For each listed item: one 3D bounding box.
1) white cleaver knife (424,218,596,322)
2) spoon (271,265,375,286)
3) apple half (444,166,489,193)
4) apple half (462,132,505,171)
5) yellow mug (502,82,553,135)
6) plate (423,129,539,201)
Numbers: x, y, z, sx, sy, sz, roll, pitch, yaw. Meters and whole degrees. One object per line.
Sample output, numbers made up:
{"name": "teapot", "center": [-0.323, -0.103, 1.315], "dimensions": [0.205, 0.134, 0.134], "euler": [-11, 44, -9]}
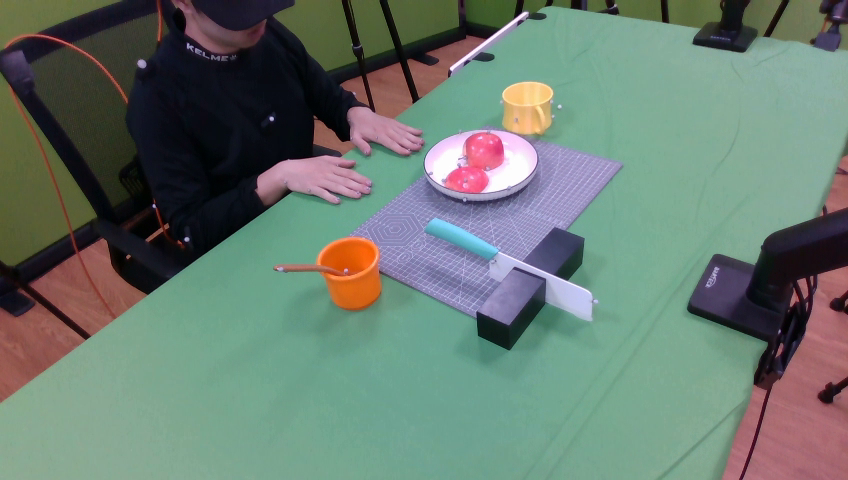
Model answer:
{"name": "white cleaver knife", "center": [0.114, 0.042, 0.865], "dimensions": [0.284, 0.066, 0.021], "euler": [27, 47, 28]}
{"name": "spoon", "center": [-0.136, 0.046, 0.839], "dimensions": [0.041, 0.195, 0.021], "euler": [24, 94, 35]}
{"name": "apple half", "center": [0.074, -0.112, 1.063], "dimensions": [0.081, 0.033, 0.081], "euler": [-6, 39, 5]}
{"name": "apple half", "center": [0.109, -0.169, 1.110], "dimensions": [0.075, 0.053, 0.080], "euler": [-6, 40, -2]}
{"name": "yellow mug", "center": [0.212, -0.256, 1.203], "dimensions": [0.100, 0.064, 0.130], "euler": [-16, 42, -10]}
{"name": "plate", "center": [0.103, -0.132, 1.092], "dimensions": [0.209, 0.038, 0.208], "euler": [-4, 40, 4]}
